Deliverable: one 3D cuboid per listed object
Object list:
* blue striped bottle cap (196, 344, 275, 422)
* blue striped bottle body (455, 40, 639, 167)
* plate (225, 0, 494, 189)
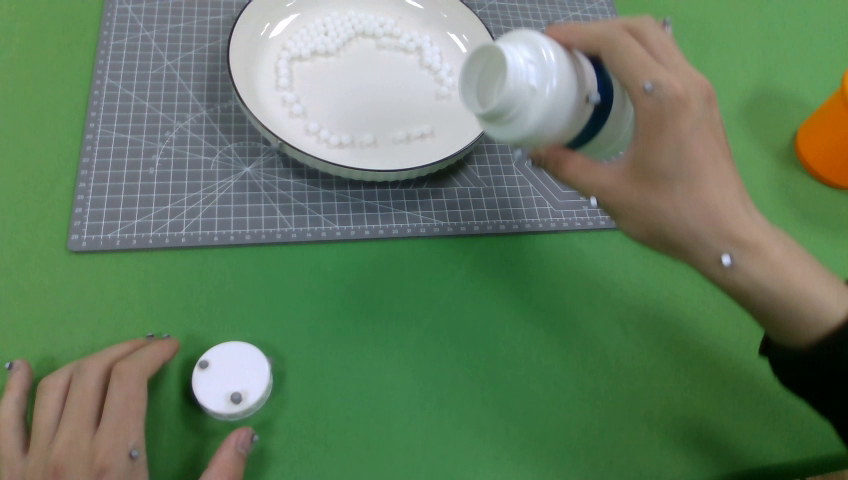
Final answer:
[{"bbox_3d":[-0.112,0.084,0.360,0.045,0.021,0.044,4,64,-7],"label":"blue striped bottle cap"},{"bbox_3d":[0.074,-0.081,0.367,0.121,0.063,0.062,1,57,-43],"label":"blue striped bottle body"},{"bbox_3d":[-0.044,-0.123,0.470,0.208,0.039,0.206,5,61,-8],"label":"plate"}]
